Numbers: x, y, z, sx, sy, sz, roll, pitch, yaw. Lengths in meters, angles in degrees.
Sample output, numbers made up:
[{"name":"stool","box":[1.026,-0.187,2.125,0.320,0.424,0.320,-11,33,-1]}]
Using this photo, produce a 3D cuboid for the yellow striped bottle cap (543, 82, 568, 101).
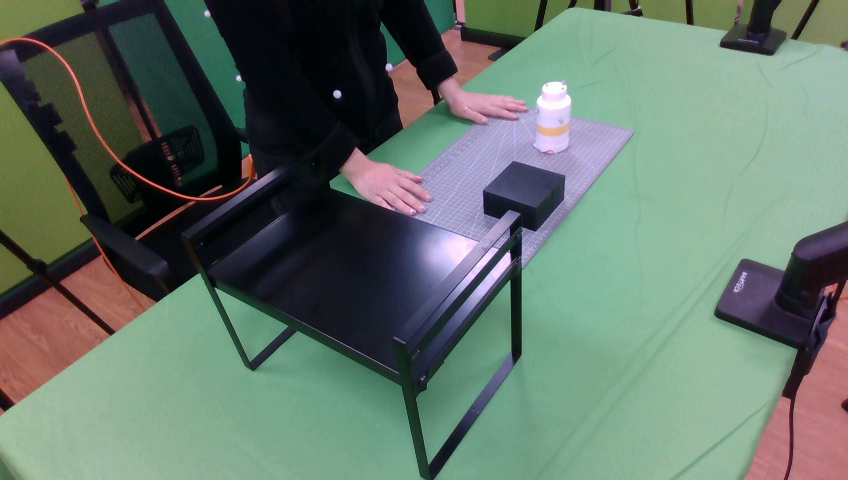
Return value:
[{"name":"yellow striped bottle cap","box":[0.237,-0.269,1.093,0.044,0.019,0.044,-3,39,3]}]

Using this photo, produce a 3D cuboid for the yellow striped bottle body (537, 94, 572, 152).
[{"name":"yellow striped bottle body","box":[0.243,-0.230,1.127,0.063,0.121,0.062,-5,41,4]}]
